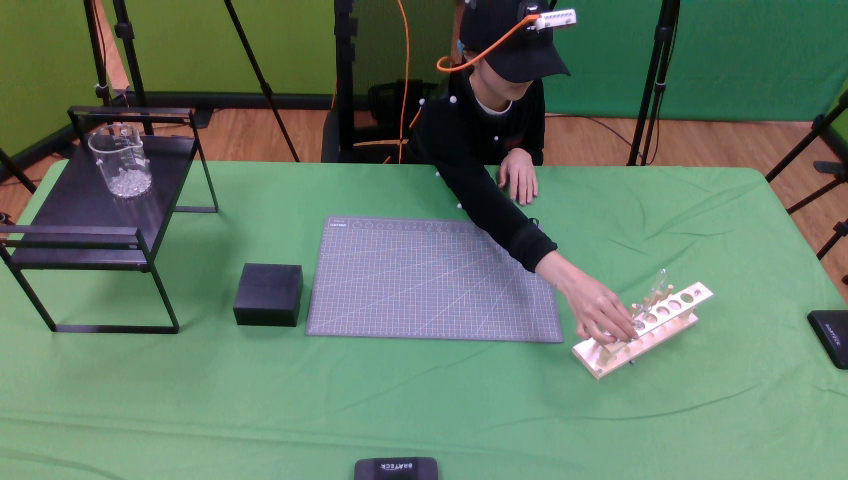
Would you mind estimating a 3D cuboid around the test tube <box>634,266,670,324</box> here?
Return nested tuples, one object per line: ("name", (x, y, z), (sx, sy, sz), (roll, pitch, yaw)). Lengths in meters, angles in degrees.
("test tube", (0.382, 0.095, 1.020), (0.017, 0.151, 0.017), (2, 48, -2))

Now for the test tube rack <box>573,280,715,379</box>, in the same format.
("test tube rack", (0.378, 0.140, 1.038), (0.242, 0.085, 0.066), (-22, 51, -23))

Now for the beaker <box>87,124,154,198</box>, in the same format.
("beaker", (-0.482, -0.124, 0.978), (0.084, 0.101, 0.073), (9, 46, 4))

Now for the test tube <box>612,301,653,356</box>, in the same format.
("test tube", (0.327, 0.144, 0.961), (0.017, 0.151, 0.017), (4, 50, -5))
